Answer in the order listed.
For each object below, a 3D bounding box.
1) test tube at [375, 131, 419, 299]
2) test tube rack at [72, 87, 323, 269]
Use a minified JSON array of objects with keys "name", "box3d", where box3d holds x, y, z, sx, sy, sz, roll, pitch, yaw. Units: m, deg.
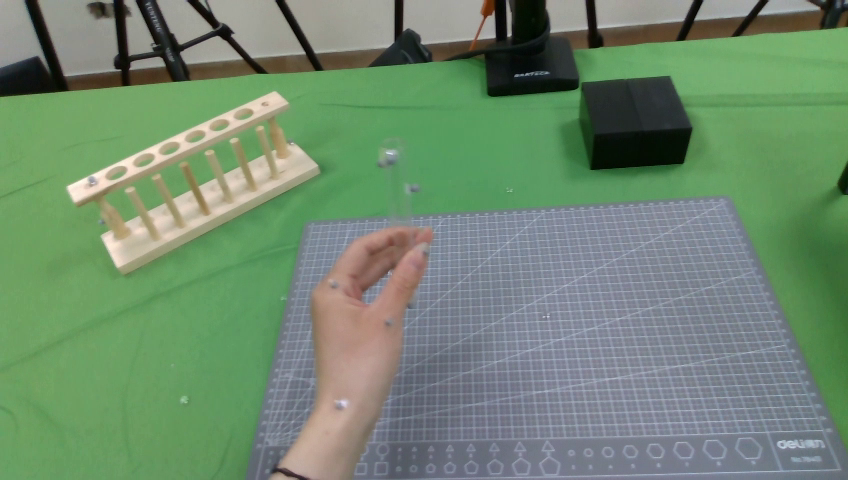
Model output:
[{"name":"test tube","box3d":[-0.017,-0.011,0.432,0.017,0.152,0.017,-3,43,4]},{"name":"test tube rack","box3d":[-0.242,-0.073,0.674,0.242,0.086,0.066,-31,51,-20]}]
